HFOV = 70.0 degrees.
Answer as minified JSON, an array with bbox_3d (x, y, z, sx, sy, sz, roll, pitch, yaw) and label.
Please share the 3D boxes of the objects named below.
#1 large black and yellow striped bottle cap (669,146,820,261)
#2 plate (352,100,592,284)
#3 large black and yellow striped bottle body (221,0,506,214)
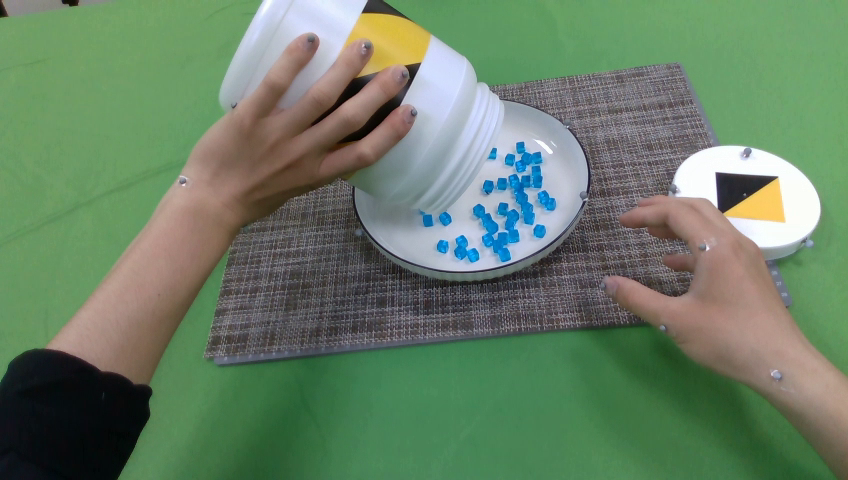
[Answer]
[{"bbox_3d":[0.265,-0.033,0.504,0.115,0.019,0.114,-2,53,3],"label":"large black and yellow striped bottle cap"},{"bbox_3d":[0.042,-0.044,0.537,0.207,0.039,0.205,-5,52,6],"label":"plate"},{"bbox_3d":[-0.042,-0.110,0.464,0.185,0.131,0.130,29,54,-17],"label":"large black and yellow striped bottle body"}]
